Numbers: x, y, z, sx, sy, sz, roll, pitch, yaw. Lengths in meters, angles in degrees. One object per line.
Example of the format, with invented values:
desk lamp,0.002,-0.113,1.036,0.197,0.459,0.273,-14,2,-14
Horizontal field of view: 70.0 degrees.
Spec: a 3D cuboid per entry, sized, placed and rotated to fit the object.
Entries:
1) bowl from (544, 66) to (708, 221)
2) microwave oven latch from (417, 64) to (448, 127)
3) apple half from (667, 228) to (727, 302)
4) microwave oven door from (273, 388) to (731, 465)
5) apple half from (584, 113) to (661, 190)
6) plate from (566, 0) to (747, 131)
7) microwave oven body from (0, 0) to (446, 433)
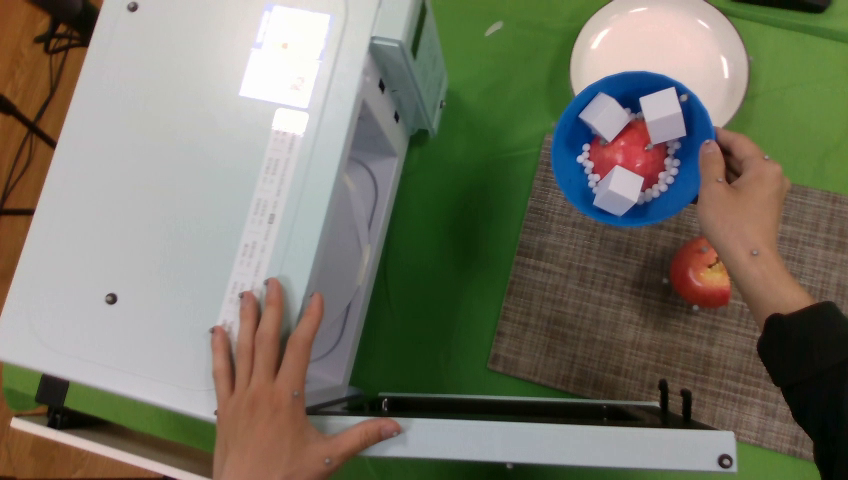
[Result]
bowl,0.200,-0.090,0.613,0.151,0.077,0.151,-1,87,15
microwave oven latch,0.009,-0.182,0.749,0.030,0.029,0.079,13,83,9
apple half,0.298,0.030,0.673,0.053,0.075,0.080,-6,83,12
microwave oven door,0.068,0.172,0.580,0.355,0.245,0.039,-1,80,8
apple half,0.201,-0.090,0.609,0.081,0.033,0.081,0,90,18
plate,0.277,-0.209,0.737,0.207,0.039,0.207,-1,81,7
microwave oven body,-0.189,-0.061,0.657,0.325,0.261,0.440,13,83,9
